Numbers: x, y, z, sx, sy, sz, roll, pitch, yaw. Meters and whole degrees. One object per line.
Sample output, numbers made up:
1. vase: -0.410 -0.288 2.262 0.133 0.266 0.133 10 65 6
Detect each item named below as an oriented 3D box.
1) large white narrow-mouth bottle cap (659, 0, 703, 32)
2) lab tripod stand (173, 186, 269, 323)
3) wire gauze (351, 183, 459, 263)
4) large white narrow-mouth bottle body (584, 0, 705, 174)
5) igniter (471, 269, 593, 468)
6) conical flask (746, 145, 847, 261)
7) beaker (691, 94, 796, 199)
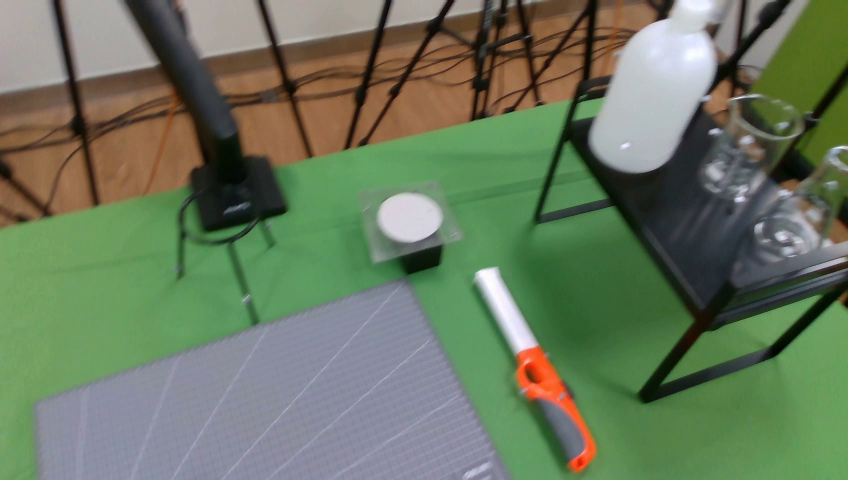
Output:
1. large white narrow-mouth bottle cap: 0.257 -0.228 0.608 0.038 0.024 0.037 3 50 -3
2. lab tripod stand: -0.242 0.013 0.744 0.148 0.132 0.147 4 51 -5
3. wire gauze: -0.028 -0.030 0.818 0.122 0.011 0.123 -11 53 -14
4. large white narrow-mouth bottle body: 0.250 -0.173 0.673 0.102 0.196 0.101 3 50 -3
5. igniter: 0.128 0.146 0.743 0.057 0.025 0.273 -8 51 -25
6. conical flask: 0.397 -0.041 0.628 0.075 0.123 0.074 3 50 -3
7. beaker: 0.355 -0.104 0.690 0.074 0.101 0.083 -31 59 -27
